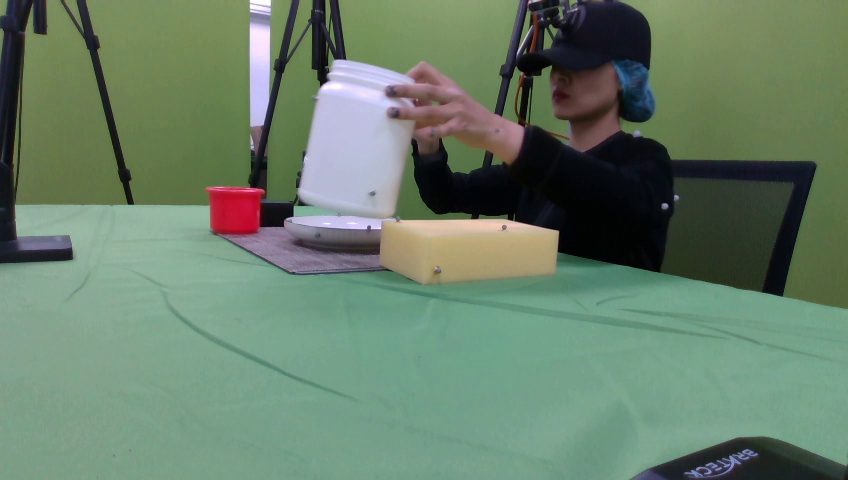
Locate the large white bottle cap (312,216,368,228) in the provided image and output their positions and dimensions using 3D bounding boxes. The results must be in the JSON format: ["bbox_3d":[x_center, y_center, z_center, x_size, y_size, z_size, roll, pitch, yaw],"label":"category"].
[{"bbox_3d":[-0.171,-0.038,1.234,0.115,0.018,0.115,1,5,0],"label":"large white bottle cap"}]

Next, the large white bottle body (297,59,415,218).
[{"bbox_3d":[-0.085,-0.130,0.790,0.131,0.184,0.130,13,8,-2],"label":"large white bottle body"}]

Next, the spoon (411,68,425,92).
[{"bbox_3d":[-0.013,-0.288,1.075,0.022,0.041,0.193,19,16,-8],"label":"spoon"}]

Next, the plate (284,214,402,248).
[{"bbox_3d":[-0.122,-0.015,0.984,0.209,0.038,0.209,2,7,0],"label":"plate"}]

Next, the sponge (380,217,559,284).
[{"bbox_3d":[0.059,0.008,0.786,0.208,0.061,0.117,-3,11,-32],"label":"sponge"}]
